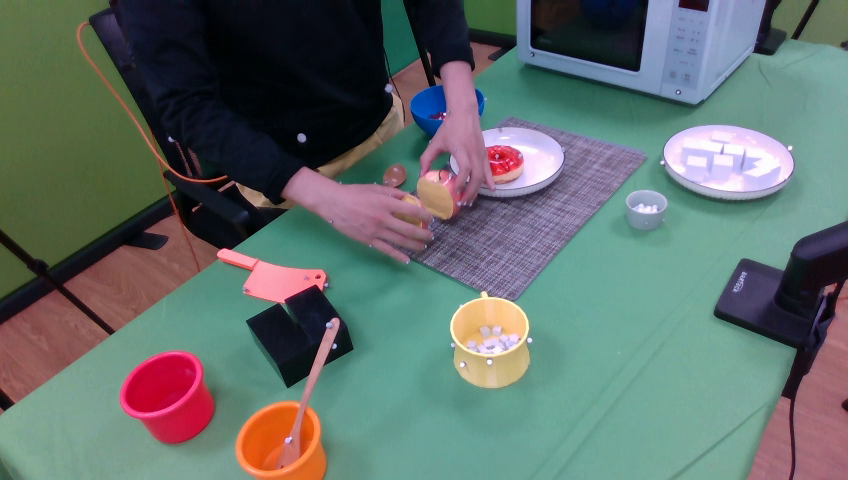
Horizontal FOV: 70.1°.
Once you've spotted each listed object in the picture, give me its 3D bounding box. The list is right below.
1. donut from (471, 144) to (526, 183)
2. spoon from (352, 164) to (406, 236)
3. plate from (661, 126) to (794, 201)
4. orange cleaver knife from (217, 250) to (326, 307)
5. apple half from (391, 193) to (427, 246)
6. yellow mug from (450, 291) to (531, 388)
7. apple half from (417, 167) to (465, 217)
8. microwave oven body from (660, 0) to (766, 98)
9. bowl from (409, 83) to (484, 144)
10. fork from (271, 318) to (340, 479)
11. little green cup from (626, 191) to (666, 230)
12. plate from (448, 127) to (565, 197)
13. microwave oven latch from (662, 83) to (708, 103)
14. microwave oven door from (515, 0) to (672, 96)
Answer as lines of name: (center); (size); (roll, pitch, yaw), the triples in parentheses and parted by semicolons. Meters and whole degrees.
donut: (0.133, -0.139, 1.083); (0.099, 0.048, 0.098); (-5, 38, 4)
spoon: (-0.083, -0.074, 1.075); (0.041, 0.022, 0.194); (22, 46, 10)
plate: (0.513, -0.128, 1.035); (0.207, 0.039, 0.206); (-4, 40, 4)
orange cleaver knife: (-0.248, 0.059, 0.945); (0.210, 0.012, 0.077); (13, 49, 20)
apple half: (-0.015, -0.032, 0.919); (0.033, 0.081, 0.080); (1, 29, -39)
yellow mug: (0.085, 0.120, 0.786); (0.100, 0.064, 0.130); (-7, 39, 1)
apple half: (0.035, -0.082, 0.980); (0.080, 0.075, 0.053); (21, 45, 37)
microwave oven body: (0.473, -0.514, 1.317); (0.438, 0.261, 0.327); (26, 51, 34)
bowl: (0.048, -0.245, 1.213); (0.151, 0.077, 0.150); (-4, 40, 4)
fork: (-0.132, 0.186, 0.676); (0.028, 0.019, 0.207); (18, 90, 28)
little green cup: (0.352, -0.046, 0.963); (0.061, 0.039, 0.061); (-4, 40, 4)
plate: (0.149, -0.138, 1.097); (0.209, 0.038, 0.208); (-4, 40, 4)
microwave oven latch: (0.518, -0.296, 1.204); (0.078, 0.029, 0.030); (27, 52, 35)
microwave oven door: (0.343, -0.455, 1.259); (0.353, 0.245, 0.039); (26, 51, 33)
